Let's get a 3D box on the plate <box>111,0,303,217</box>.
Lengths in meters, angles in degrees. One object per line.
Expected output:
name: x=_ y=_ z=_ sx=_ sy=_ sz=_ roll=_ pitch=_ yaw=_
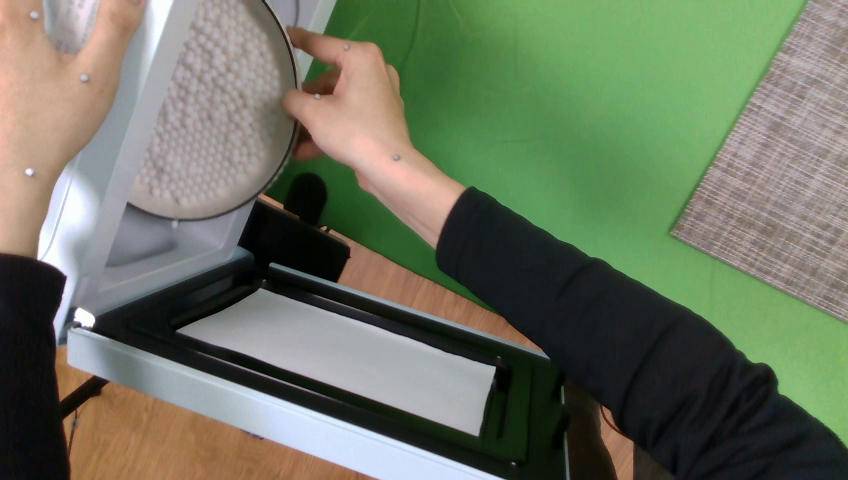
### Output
plate: x=-0.197 y=-0.125 z=0.504 sx=0.209 sy=0.038 sz=0.210 roll=2 pitch=103 yaw=8

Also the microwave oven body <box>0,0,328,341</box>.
microwave oven body: x=-0.251 y=-0.204 z=0.483 sx=0.325 sy=0.260 sz=0.442 roll=28 pitch=105 yaw=4

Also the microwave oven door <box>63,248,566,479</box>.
microwave oven door: x=-0.056 y=0.098 z=0.501 sx=0.355 sy=0.243 sz=0.039 roll=17 pitch=103 yaw=7
